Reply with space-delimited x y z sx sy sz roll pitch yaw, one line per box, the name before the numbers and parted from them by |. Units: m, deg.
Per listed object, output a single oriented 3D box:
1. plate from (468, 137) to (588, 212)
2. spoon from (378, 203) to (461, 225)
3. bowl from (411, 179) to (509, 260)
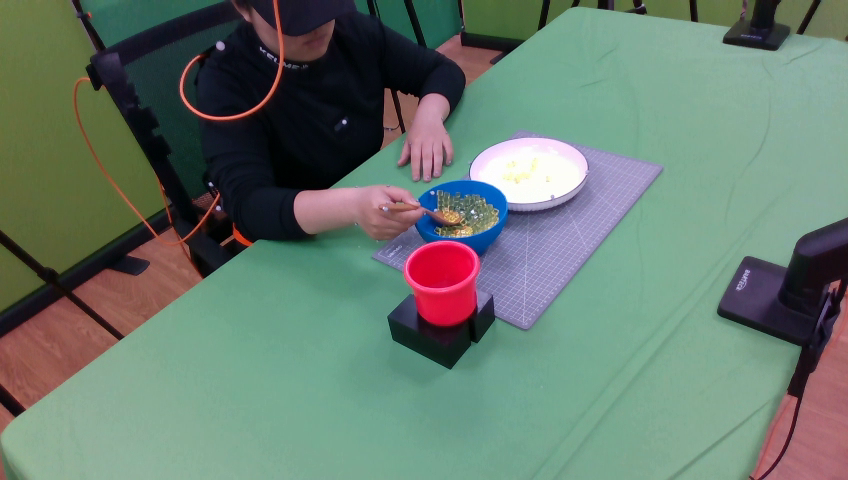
plate | 0.182 -0.112 1.064 0.207 0.039 0.206 -5 40 5
spoon | -0.005 -0.043 0.906 0.041 0.021 0.195 40 17 31
bowl | 0.060 -0.022 0.949 0.151 0.077 0.150 -5 40 5
